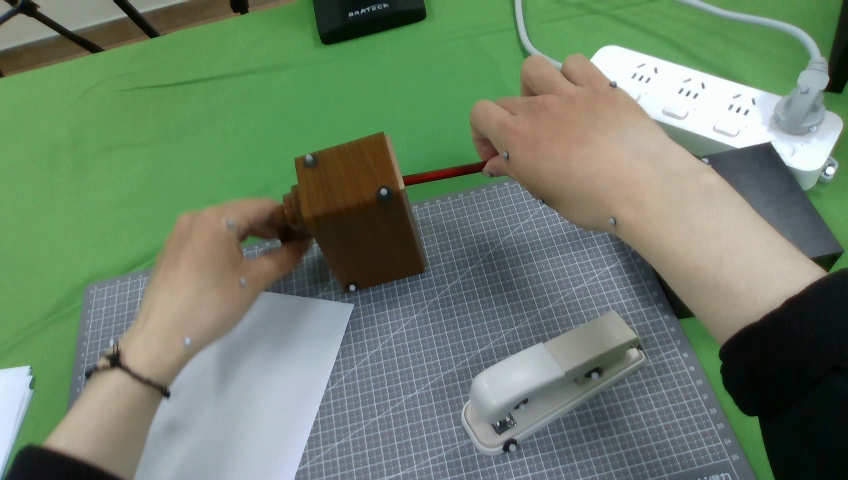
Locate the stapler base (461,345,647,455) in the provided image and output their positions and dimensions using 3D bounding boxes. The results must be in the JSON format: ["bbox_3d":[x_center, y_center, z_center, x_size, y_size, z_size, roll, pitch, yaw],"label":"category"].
[{"bbox_3d":[0.085,0.093,0.402,0.130,0.025,0.041,-27,56,-10],"label":"stapler base"}]

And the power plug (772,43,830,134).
[{"bbox_3d":[0.302,-0.110,0.472,0.072,0.053,0.035,-42,59,-16],"label":"power plug"}]

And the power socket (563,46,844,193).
[{"bbox_3d":[0.230,-0.107,0.511,0.225,0.033,0.072,28,64,26],"label":"power socket"}]

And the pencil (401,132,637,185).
[{"bbox_3d":[0.056,-0.055,0.428,0.194,0.012,0.012,-11,54,-3],"label":"pencil"}]

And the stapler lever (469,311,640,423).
[{"bbox_3d":[0.083,0.077,0.382,0.118,0.040,0.026,-27,56,-10],"label":"stapler lever"}]

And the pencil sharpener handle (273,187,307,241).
[{"bbox_3d":[-0.100,-0.013,0.440,0.030,0.068,0.036,-17,77,-1],"label":"pencil sharpener handle"}]

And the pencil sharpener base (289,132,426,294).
[{"bbox_3d":[-0.047,-0.016,0.449,0.077,0.108,0.060,-17,55,-1],"label":"pencil sharpener base"}]
